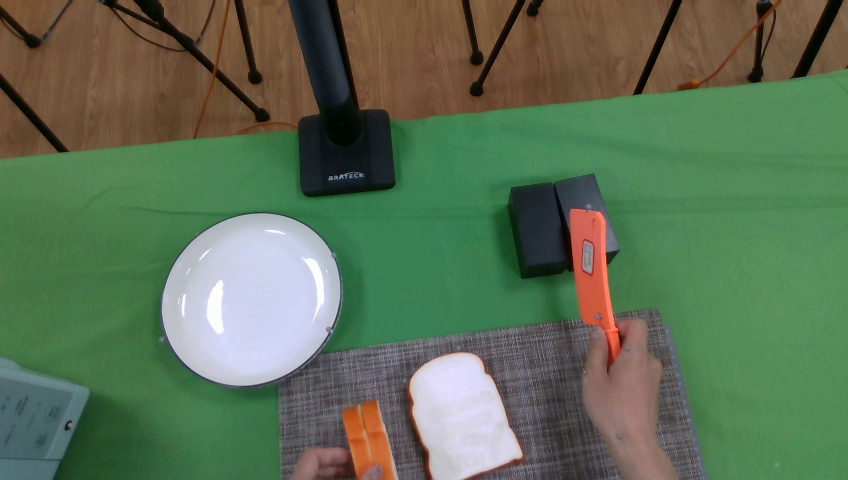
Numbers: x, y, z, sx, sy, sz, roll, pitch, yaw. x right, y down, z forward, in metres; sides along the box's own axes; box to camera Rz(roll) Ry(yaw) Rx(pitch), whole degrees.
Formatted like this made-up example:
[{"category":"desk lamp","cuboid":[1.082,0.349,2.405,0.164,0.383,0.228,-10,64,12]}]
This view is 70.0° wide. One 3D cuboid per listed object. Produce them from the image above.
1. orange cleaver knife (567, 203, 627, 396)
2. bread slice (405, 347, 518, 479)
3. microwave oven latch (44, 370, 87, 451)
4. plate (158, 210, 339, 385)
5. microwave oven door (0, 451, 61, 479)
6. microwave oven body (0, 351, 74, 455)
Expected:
[{"category":"orange cleaver knife","cuboid":[0.183,0.059,0.653,0.012,0.077,0.211,-6,84,-15]},{"category":"bread slice","cuboid":[0.038,0.187,0.671,0.107,0.018,0.133,-14,80,-9]},{"category":"microwave oven latch","cuboid":[-0.394,0.184,0.653,0.030,0.030,0.079,16,72,6]},{"category":"plate","cuboid":[-0.200,0.067,0.710,0.208,0.039,0.206,0,70,1]},{"category":"microwave oven door","cuboid":[-0.455,0.348,0.488,0.039,0.245,0.354,13,71,7]},{"category":"microwave oven body","cuboid":[-0.585,0.278,0.521,0.325,0.262,0.439,14,72,6]}]
